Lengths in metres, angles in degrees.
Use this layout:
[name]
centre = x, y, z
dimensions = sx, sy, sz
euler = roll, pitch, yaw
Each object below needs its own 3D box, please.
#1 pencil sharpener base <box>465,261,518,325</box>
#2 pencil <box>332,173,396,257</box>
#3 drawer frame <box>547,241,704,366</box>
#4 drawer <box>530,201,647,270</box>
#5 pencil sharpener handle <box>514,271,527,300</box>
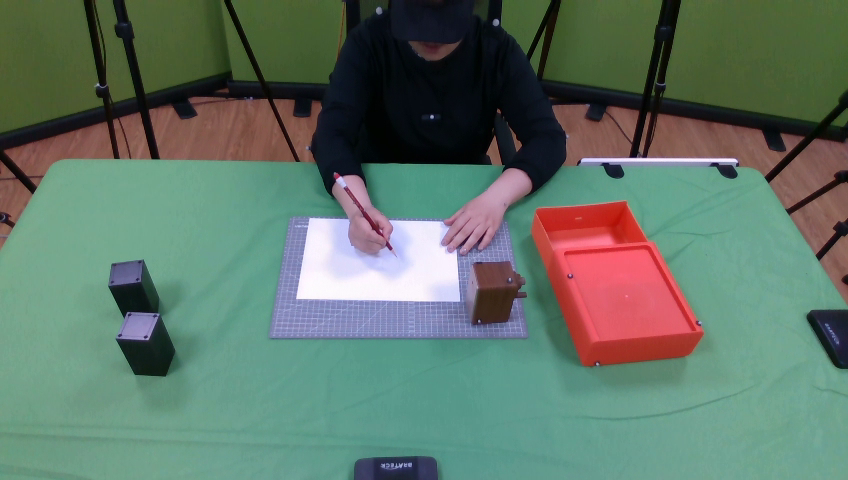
[pencil sharpener base]
centre = 0.117, 0.093, 1.052
dimensions = 0.077, 0.107, 0.061
euler = -3, 46, -7
[pencil]
centre = -0.108, -0.044, 1.120
dimensions = 0.194, 0.012, 0.012
euler = 54, 52, -13
[drawer frame]
centre = 0.348, 0.106, 1.077
dimensions = 0.202, 0.083, 0.212
euler = -4, 47, -9
[drawer]
centre = 0.329, 0.025, 1.159
dimensions = 0.195, 0.073, 0.210
euler = -5, 46, -9
[pencil sharpener handle]
centre = 0.169, 0.081, 1.051
dimensions = 0.031, 0.068, 0.035
euler = -3, 48, -7
